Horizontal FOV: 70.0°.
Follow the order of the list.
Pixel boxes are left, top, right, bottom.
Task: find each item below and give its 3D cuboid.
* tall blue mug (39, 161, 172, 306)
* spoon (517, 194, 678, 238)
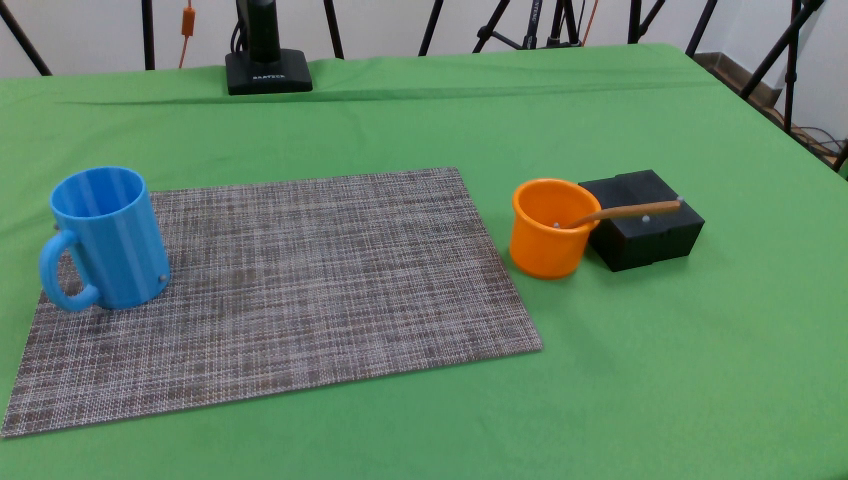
[{"bbox_3d":[-0.281,0.004,0.542,0.078,0.109,0.106,0,42,-7],"label":"tall blue mug"},{"bbox_3d":[0.163,-0.024,0.598,0.042,0.193,0.021,-24,93,-33],"label":"spoon"}]
